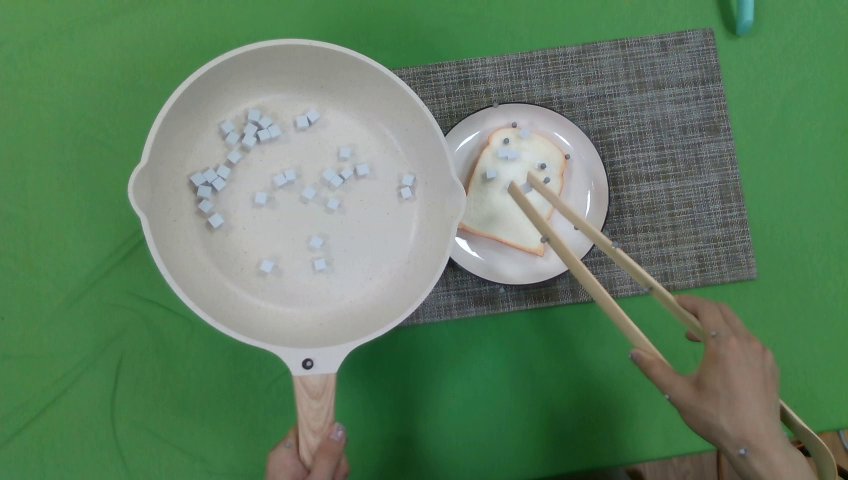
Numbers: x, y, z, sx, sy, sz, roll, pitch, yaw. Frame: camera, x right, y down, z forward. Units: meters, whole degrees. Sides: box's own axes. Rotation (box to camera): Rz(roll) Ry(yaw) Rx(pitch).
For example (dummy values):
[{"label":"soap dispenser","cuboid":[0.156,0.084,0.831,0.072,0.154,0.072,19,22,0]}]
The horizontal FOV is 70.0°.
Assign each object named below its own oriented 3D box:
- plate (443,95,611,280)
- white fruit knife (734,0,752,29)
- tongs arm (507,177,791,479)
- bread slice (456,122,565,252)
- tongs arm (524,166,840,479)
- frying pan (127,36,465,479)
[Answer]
[{"label":"plate","cuboid":[0.103,-0.057,0.685,0.208,0.039,0.207,0,85,0]},{"label":"white fruit knife","cuboid":[0.362,-0.352,0.691,0.016,0.027,0.208,-7,100,-2]},{"label":"tongs arm","cuboid":[0.206,0.078,0.564,0.028,0.028,0.384,-33,69,-19]},{"label":"bread slice","cuboid":[0.099,-0.065,0.687,0.107,0.018,0.134,16,87,0]},{"label":"tongs arm","cuboid":[0.220,0.068,0.569,0.051,0.027,0.382,-40,71,-18]},{"label":"frying pan","cuboid":[-0.107,0.059,0.569,0.308,0.102,0.485,0,79,-18]}]
